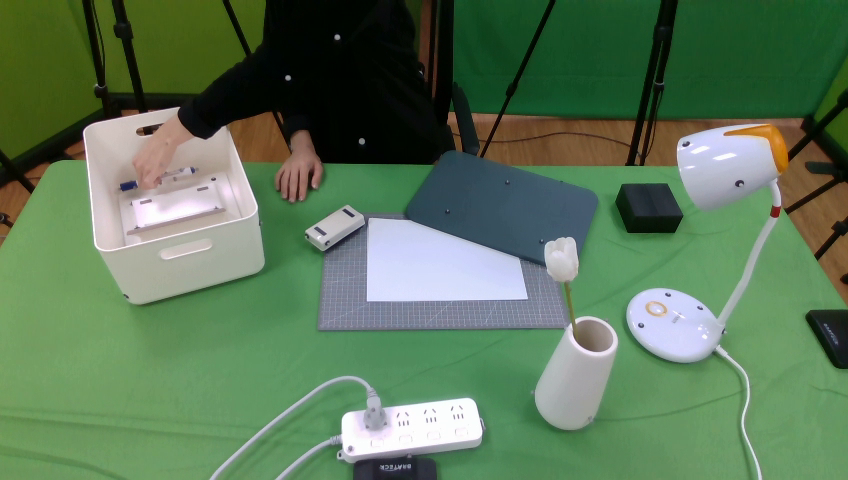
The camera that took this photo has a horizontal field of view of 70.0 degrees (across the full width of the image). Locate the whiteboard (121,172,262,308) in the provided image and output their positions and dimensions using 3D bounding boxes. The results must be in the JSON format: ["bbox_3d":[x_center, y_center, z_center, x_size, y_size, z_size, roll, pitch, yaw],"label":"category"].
[{"bbox_3d":[-0.464,-0.059,1.137,0.217,0.144,0.303,-20,50,-17],"label":"whiteboard"}]

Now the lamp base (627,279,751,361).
[{"bbox_3d":[0.460,0.100,1.027,0.178,0.181,0.160,27,51,17],"label":"lamp base"}]

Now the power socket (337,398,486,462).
[{"bbox_3d":[-0.018,0.285,0.914,0.227,0.033,0.071,-4,46,-8],"label":"power socket"}]

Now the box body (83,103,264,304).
[{"bbox_3d":[-0.465,-0.076,1.137,0.254,0.161,0.361,-16,49,-19],"label":"box body"}]

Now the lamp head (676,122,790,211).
[{"bbox_3d":[0.423,-0.104,0.819,0.122,0.113,0.112,-13,33,40],"label":"lamp head"}]

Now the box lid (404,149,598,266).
[{"bbox_3d":[0.171,-0.073,1.289,0.371,0.015,0.262,19,47,14],"label":"box lid"}]

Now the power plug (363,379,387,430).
[{"bbox_3d":[-0.071,0.252,0.911,0.035,0.053,0.072,3,40,0],"label":"power plug"}]

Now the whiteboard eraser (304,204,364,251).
[{"bbox_3d":[-0.175,-0.022,1.187,0.055,0.042,0.112,36,54,25],"label":"whiteboard eraser"}]

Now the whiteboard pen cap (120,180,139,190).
[{"bbox_3d":[-0.594,-0.111,1.224,0.033,0.018,0.018,-14,49,-17],"label":"whiteboard pen cap"}]

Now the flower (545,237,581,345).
[{"bbox_3d":[0.213,0.137,0.846,0.038,0.364,0.044,21,55,40],"label":"flower"}]

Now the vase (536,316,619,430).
[{"bbox_3d":[0.229,0.200,0.901,0.098,0.201,0.097,3,46,-3],"label":"vase"}]

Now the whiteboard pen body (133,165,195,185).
[{"bbox_3d":[-0.541,-0.130,1.240,0.141,0.017,0.017,-16,50,-14],"label":"whiteboard pen body"}]
